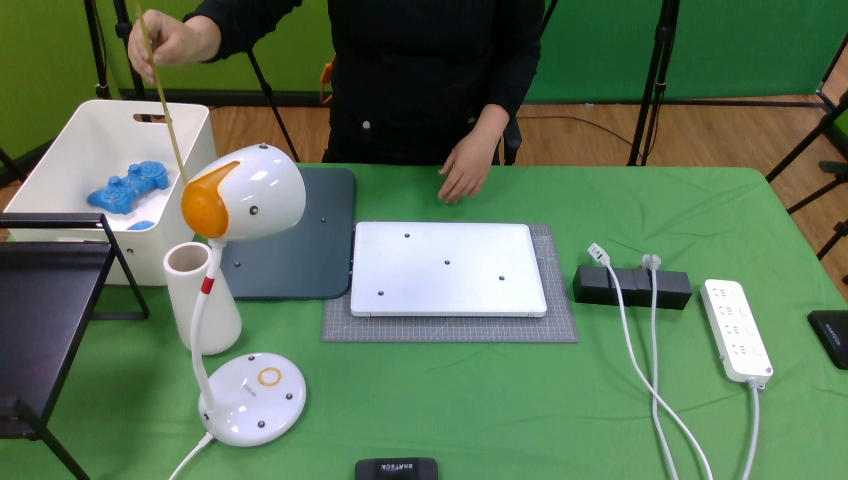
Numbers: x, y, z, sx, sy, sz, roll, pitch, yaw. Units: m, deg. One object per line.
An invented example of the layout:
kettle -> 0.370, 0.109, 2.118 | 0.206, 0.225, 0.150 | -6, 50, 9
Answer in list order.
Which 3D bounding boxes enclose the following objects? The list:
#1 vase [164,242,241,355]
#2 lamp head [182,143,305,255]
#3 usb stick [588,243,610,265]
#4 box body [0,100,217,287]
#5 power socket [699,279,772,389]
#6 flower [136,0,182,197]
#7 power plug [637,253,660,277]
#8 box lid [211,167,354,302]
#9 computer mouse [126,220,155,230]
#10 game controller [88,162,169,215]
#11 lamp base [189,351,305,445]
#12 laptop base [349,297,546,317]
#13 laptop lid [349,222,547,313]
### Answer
vase -> -0.349, 0.096, 0.954 | 0.098, 0.201, 0.097 | 3, 47, -3
lamp head -> -0.216, -0.044, 0.697 | 0.112, 0.113, 0.123 | 23, 31, 17
usb stick -> 0.336, 0.025, 1.172 | 0.027, 0.021, 0.059 | 32, 17, -12
box body -> -0.560, -0.092, 1.145 | 0.254, 0.161, 0.361 | 3, 46, -2
power socket -> 0.551, 0.157, 1.081 | 0.072, 0.033, 0.225 | 5, 46, 1
flower -> -0.356, -0.203, 0.812 | 0.044, 0.363, 0.038 | -4, 42, -13
power plug -> 0.415, 0.050, 1.139 | 0.035, 0.053, 0.072 | 45, 49, 10
box lid -> -0.276, -0.024, 1.205 | 0.263, 0.015, 0.369 | 0, 46, -4
computer mouse -> -0.537, 0.008, 1.127 | 0.062, 0.041, 0.117 | 32, 56, 20
game controller -> -0.597, -0.113, 1.234 | 0.097, 0.052, 0.155 | 29, 51, 20
lamp base -> -0.268, 0.196, 0.876 | 0.160, 0.181, 0.179 | 26, 52, 20
laptop base -> 0.041, 0.055, 1.149 | 0.355, 0.023, 0.234 | 1, 42, -4
laptop lid -> 0.041, 0.045, 1.143 | 0.357, 0.013, 0.240 | 2, 43, -3
